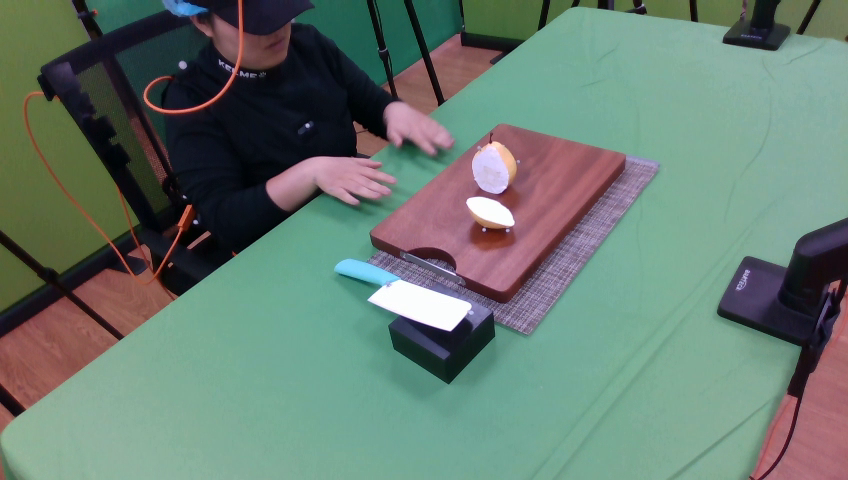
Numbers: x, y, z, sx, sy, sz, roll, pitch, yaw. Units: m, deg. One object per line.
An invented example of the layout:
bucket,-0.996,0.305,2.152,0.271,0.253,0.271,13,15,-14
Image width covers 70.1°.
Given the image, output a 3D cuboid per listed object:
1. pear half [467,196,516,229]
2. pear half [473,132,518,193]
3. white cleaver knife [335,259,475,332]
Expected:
pear half,0.106,-0.037,0.956,0.071,0.031,0.087,-23,53,-37
pear half,0.123,-0.139,1.015,0.076,0.110,0.056,17,47,23
white cleaver knife,-0.045,0.072,0.859,0.066,0.021,0.284,-36,32,-31
